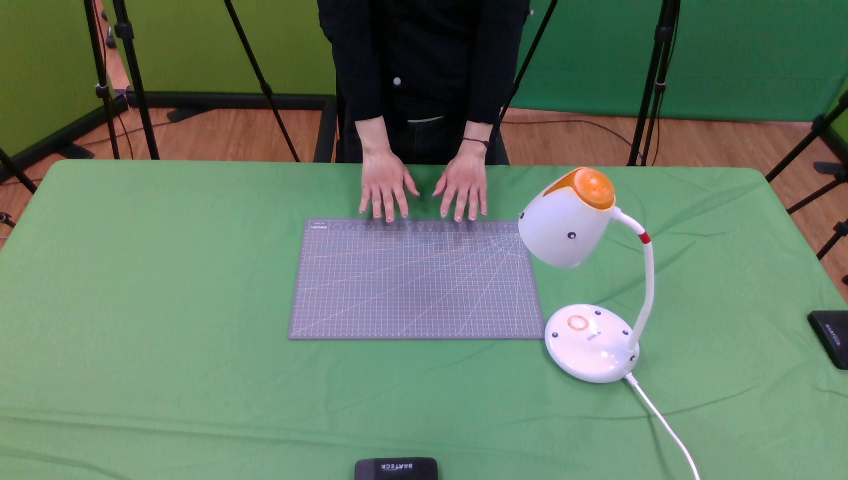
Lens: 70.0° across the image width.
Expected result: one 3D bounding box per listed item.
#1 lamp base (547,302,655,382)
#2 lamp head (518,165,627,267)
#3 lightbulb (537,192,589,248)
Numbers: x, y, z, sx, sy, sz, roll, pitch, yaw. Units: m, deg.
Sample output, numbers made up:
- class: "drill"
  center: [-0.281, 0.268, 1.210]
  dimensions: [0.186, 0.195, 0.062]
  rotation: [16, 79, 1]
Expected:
- class: "lamp base"
  center: [0.303, 0.127, 0.982]
  dimensions: [0.160, 0.181, 0.178]
  rotation: [-33, 59, -29]
- class: "lamp head"
  center: [0.202, -0.037, 0.803]
  dimensions: [0.113, 0.123, 0.112]
  rotation: [12, 56, -18]
- class: "lightbulb"
  center: [0.193, -0.031, 0.826]
  dimensions: [0.059, 0.108, 0.059]
  rotation: [7, 59, -11]
